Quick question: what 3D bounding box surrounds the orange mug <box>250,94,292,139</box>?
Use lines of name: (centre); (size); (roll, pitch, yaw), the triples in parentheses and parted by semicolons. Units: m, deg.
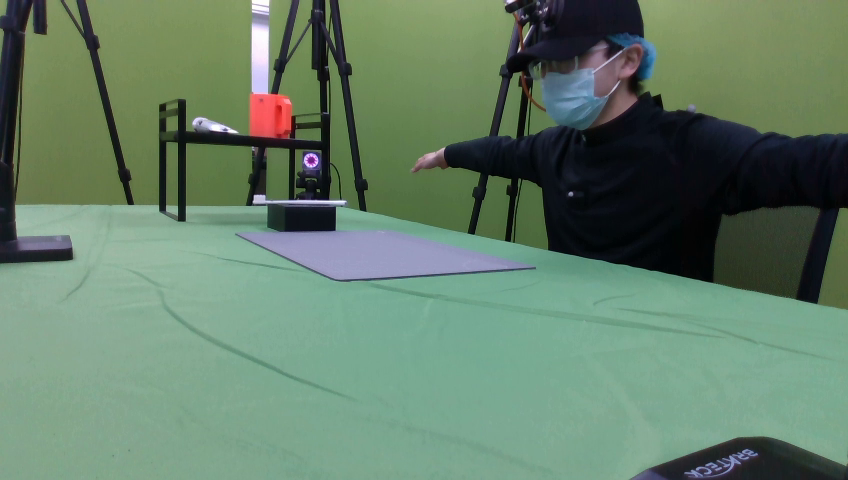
orange mug: (-0.339, -0.279, 1.364); (0.125, 0.100, 0.084); (4, 6, 45)

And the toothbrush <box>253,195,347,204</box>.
toothbrush: (-0.234, -0.076, 1.154); (0.183, 0.016, 0.014); (-1, 5, -27)

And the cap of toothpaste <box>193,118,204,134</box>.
cap of toothpaste: (-0.497, -0.255, 1.350); (0.037, 0.037, 0.011); (-4, 14, -38)

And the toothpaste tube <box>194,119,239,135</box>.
toothpaste tube: (-0.451, -0.238, 1.289); (0.055, 0.034, 0.164); (-8, 16, -38)
